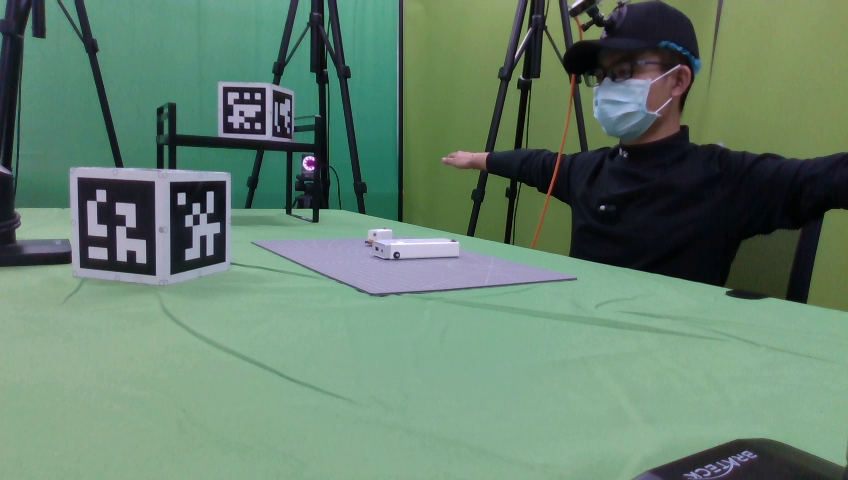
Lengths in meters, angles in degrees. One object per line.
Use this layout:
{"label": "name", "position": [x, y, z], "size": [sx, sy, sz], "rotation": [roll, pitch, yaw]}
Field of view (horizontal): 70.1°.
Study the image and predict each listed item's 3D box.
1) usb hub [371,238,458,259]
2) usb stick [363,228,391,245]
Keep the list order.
{"label": "usb hub", "position": [-0.013, 0.012, 0.908], "size": [0.126, 0.025, 0.049], "rotation": [-2, 9, -28]}
{"label": "usb stick", "position": [-0.080, -0.005, 1.020], "size": [0.021, 0.027, 0.059], "rotation": [8, 12, 31]}
